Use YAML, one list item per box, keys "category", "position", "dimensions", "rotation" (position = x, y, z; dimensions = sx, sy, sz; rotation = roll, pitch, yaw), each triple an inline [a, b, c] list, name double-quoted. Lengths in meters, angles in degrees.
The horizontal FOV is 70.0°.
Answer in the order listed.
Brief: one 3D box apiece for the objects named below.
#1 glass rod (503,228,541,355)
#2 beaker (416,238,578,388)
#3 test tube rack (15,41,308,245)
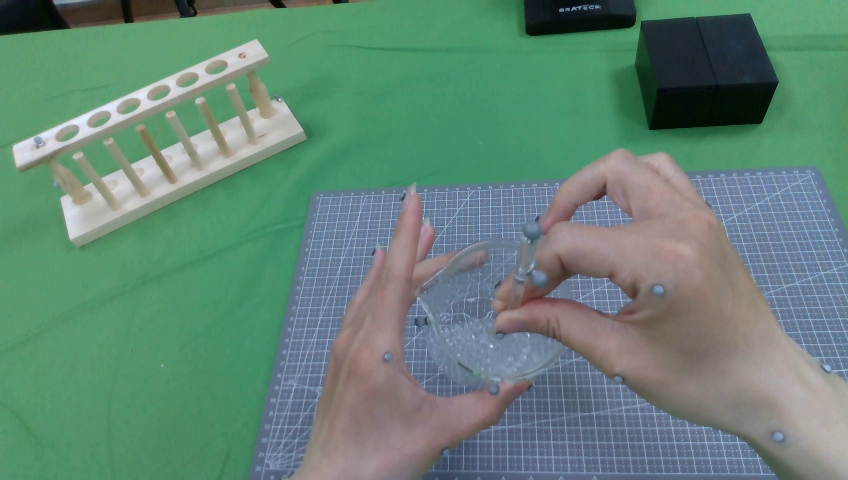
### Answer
- category: "glass rod"
  position: [0.045, 0.035, 0.293]
  dimensions: [0.008, 0.201, 0.008]
  rotation: [-2, 68, 5]
- category: "beaker"
  position: [0.035, 0.048, 0.353]
  dimensions: [0.084, 0.101, 0.073]
  rotation: [12, 73, 1]
- category: "test tube rack"
  position: [-0.246, -0.096, 0.589]
  dimensions: [0.242, 0.086, 0.066]
  rotation: [-28, 54, -11]
